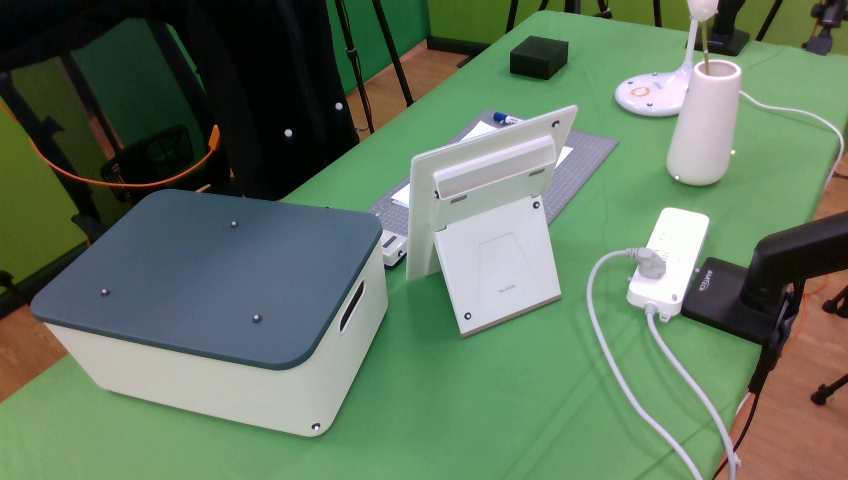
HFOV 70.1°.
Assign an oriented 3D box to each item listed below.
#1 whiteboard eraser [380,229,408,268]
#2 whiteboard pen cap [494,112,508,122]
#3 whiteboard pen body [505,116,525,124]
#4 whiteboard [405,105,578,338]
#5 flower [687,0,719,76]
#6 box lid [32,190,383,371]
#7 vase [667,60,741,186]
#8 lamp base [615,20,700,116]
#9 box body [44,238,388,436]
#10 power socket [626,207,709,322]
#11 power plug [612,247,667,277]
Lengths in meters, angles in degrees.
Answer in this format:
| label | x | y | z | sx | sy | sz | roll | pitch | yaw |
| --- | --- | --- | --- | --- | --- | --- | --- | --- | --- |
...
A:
| label | x | y | z | sx | sy | sz | roll | pitch | yaw |
| --- | --- | --- | --- | --- | --- | --- | --- | --- | --- |
| whiteboard eraser | -0.081 | 0.007 | 0.963 | 0.112 | 0.042 | 0.056 | 19 | 48 | 27 |
| whiteboard pen cap | 0.161 | -0.253 | 1.248 | 0.033 | 0.018 | 0.018 | 27 | 51 | 36 |
| whiteboard pen body | 0.203 | -0.232 | 1.213 | 0.139 | 0.017 | 0.017 | 28 | 51 | 36 |
| whiteboard | 0.103 | 0.003 | 0.786 | 0.218 | 0.306 | 0.143 | -19 | 62 | -14 |
| flower | 0.436 | -0.242 | 0.934 | 0.038 | 0.364 | 0.043 | -24 | 49 | 8 |
| box lid | -0.257 | 0.032 | 0.750 | 0.370 | 0.015 | 0.263 | 7 | 41 | 16 |
| vase | 0.463 | -0.189 | 0.994 | 0.098 | 0.201 | 0.097 | -4 | 40 | 3 |
| lamp base | 0.484 | -0.364 | 1.211 | 0.180 | 0.181 | 0.159 | -15 | 41 | -14 |
| box body | -0.251 | 0.088 | 0.799 | 0.362 | 0.161 | 0.254 | 7 | 42 | 16 |
| power socket | 0.360 | 0.026 | 0.886 | 0.072 | 0.033 | 0.227 | 17 | 46 | 27 |
| power plug | 0.306 | 0.031 | 0.852 | 0.072 | 0.053 | 0.035 | 21 | 48 | 37 |
